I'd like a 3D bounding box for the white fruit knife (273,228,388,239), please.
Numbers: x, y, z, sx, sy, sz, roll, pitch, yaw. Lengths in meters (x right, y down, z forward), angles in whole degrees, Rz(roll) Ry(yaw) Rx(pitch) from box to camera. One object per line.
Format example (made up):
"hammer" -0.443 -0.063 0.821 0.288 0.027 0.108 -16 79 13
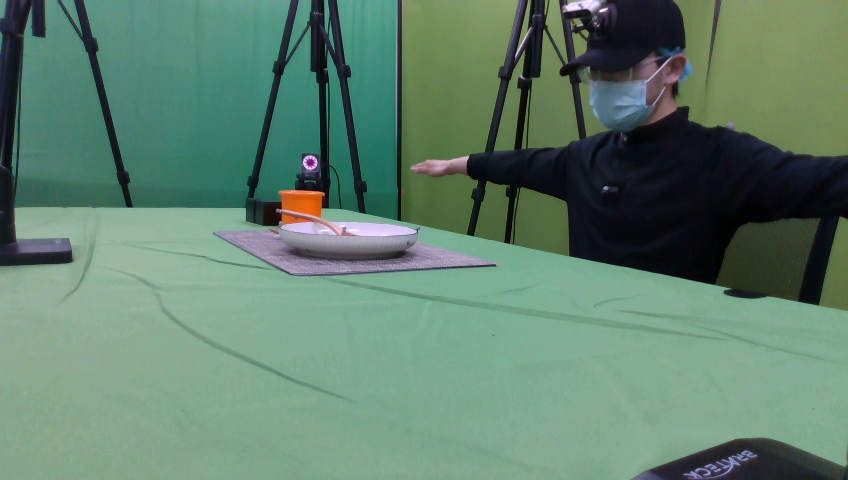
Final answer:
"white fruit knife" -0.158 -0.009 1.055 0.208 0.016 0.027 -3 -22 -23

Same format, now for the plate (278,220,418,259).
"plate" -0.114 -0.002 0.914 0.209 0.038 0.209 2 7 0

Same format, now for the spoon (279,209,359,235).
"spoon" -0.163 -0.027 0.976 0.193 0.021 0.042 21 17 30

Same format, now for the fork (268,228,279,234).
"fork" -0.174 -0.017 1.084 0.208 0.018 0.028 -3 -3 -30
